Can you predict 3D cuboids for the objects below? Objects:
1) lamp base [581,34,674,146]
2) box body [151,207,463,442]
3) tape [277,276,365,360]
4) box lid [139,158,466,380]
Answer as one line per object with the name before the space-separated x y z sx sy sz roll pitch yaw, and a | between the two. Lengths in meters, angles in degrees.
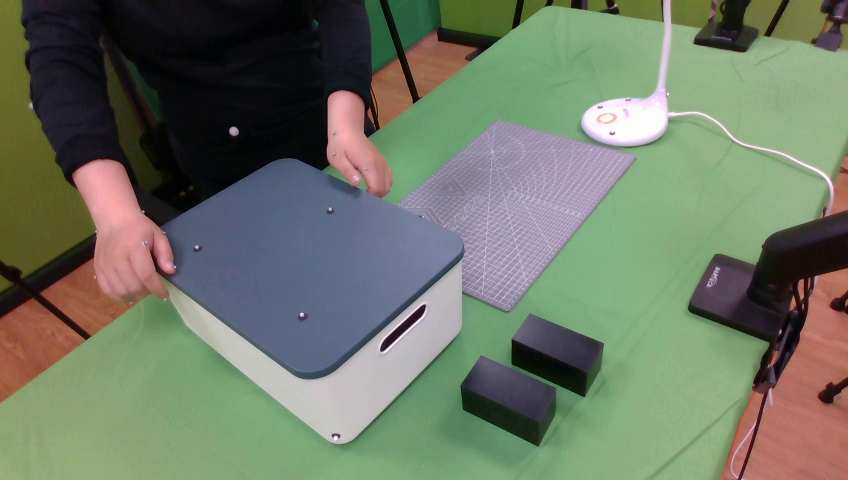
lamp base | 0.392 -0.291 1.129 0.180 0.181 0.159 -11 41 -8
box body | -0.152 0.064 0.807 0.361 0.161 0.255 26 51 33
tape | -0.140 0.106 0.832 0.117 0.053 0.116 -4 41 4
box lid | -0.158 0.010 0.758 0.368 0.015 0.264 26 50 33
